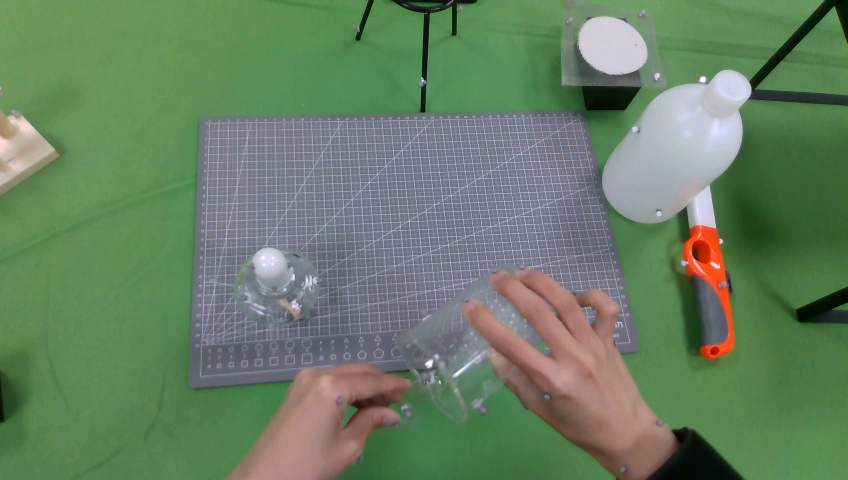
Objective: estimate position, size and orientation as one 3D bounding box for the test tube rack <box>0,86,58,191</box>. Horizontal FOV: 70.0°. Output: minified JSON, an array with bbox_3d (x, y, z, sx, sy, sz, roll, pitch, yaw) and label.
[{"bbox_3d":[-0.486,-0.053,0.565,0.066,0.085,0.242,43,69,10],"label":"test tube rack"}]

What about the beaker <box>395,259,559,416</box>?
[{"bbox_3d":[0.041,0.067,0.438,0.100,0.084,0.073,-34,75,-21],"label":"beaker"}]

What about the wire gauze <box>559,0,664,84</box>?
[{"bbox_3d":[0.219,-0.237,0.720,0.122,0.011,0.124,4,67,-5],"label":"wire gauze"}]

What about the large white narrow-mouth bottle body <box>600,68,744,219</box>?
[{"bbox_3d":[0.260,-0.103,0.624,0.102,0.195,0.101,2,67,-5],"label":"large white narrow-mouth bottle body"}]

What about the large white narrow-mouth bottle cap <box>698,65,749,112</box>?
[{"bbox_3d":[0.269,-0.137,0.546,0.038,0.024,0.037,3,68,-6],"label":"large white narrow-mouth bottle cap"}]

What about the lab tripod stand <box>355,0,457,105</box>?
[{"bbox_3d":[-0.008,-0.249,0.681,0.149,0.132,0.147,3,69,-8],"label":"lab tripod stand"}]

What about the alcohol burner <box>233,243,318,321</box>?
[{"bbox_3d":[-0.137,0.033,0.558,0.078,0.119,0.077,4,66,-8],"label":"alcohol burner"}]

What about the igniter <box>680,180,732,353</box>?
[{"bbox_3d":[0.311,-0.008,0.682,0.057,0.025,0.274,10,67,-17],"label":"igniter"}]

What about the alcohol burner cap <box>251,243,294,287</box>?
[{"bbox_3d":[-0.133,0.021,0.524,0.034,0.048,0.033,1,73,-3],"label":"alcohol burner cap"}]

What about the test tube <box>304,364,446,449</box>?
[{"bbox_3d":[-0.042,0.131,0.467,0.017,0.150,0.017,37,34,-30],"label":"test tube"}]
